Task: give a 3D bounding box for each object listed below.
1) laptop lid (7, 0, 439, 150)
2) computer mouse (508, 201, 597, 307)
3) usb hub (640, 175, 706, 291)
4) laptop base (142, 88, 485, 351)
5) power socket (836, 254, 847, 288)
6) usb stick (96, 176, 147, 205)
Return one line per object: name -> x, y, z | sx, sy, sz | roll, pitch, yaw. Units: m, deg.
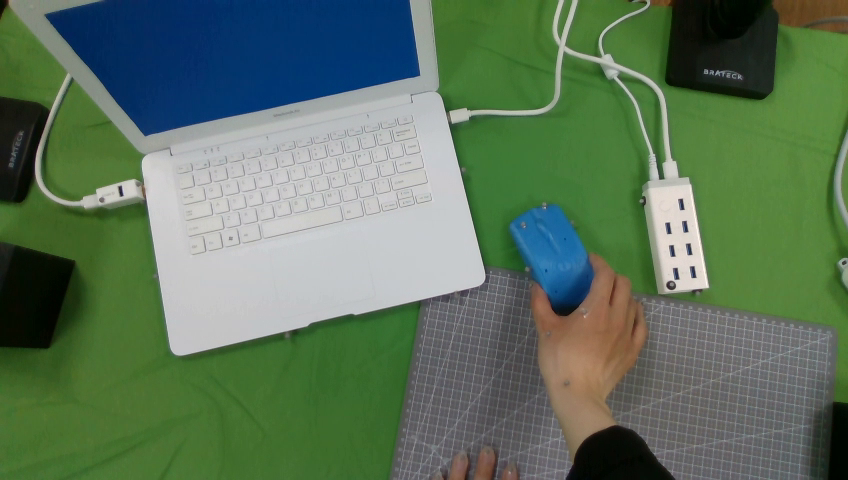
laptop lid -> -0.164, -0.191, 0.599 | 0.357, 0.243, 0.013 | -14, 64, 0
computer mouse -> 0.140, 0.013, 0.660 | 0.063, 0.041, 0.116 | -22, 74, -2
usb hub -> 0.273, -0.008, 0.669 | 0.049, 0.025, 0.124 | -5, 80, 1
laptop base -> -0.128, -0.027, 0.685 | 0.354, 0.023, 0.234 | -13, 82, -1
power socket -> 0.536, 0.099, 0.640 | 0.072, 0.033, 0.226 | -32, 80, -5
usb stick -> -0.333, -0.057, 0.681 | 0.059, 0.027, 0.021 | -13, 83, -6
